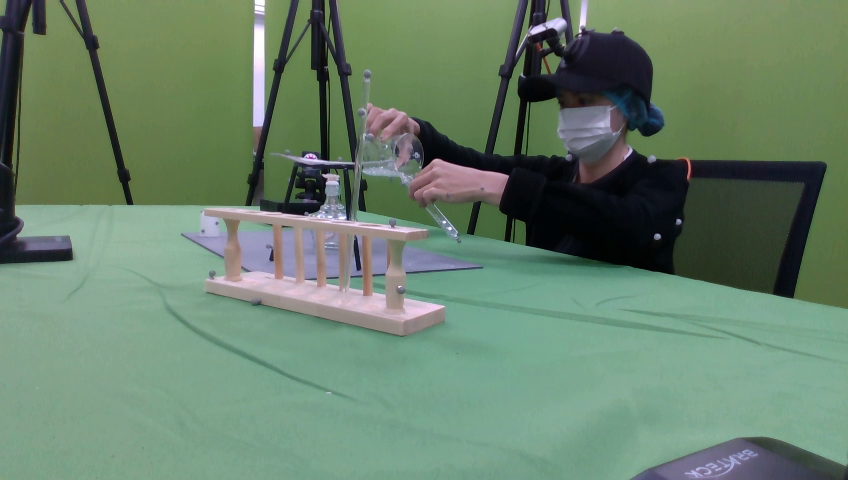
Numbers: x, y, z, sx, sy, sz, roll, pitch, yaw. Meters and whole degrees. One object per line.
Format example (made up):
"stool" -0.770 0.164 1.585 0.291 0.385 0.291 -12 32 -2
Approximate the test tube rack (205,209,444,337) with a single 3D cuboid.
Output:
"test tube rack" -0.100 0.021 0.565 0.241 0.085 0.067 7 9 32

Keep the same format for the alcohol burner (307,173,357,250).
"alcohol burner" -0.144 -0.045 0.940 0.078 0.119 0.078 1 8 0

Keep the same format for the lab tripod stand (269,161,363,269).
"lab tripod stand" -0.125 -0.036 0.794 0.148 0.131 0.148 5 7 0

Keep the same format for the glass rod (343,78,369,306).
"glass rod" -0.059 -0.038 0.522 0.008 0.199 0.008 6 5 0

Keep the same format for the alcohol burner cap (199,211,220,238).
"alcohol burner cap" -0.356 -0.027 1.002 0.034 0.048 0.034 2 7 0

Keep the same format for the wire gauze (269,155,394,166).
"wire gauze" -0.121 -0.102 0.785 0.122 0.011 0.124 -3 10 -39

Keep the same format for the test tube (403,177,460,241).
"test tube" 0.011 -0.051 0.962 0.017 0.017 0.149 -4 45 -43

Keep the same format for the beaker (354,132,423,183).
"beaker" -0.063 -0.141 1.026 0.100 0.084 0.074 8 5 41
